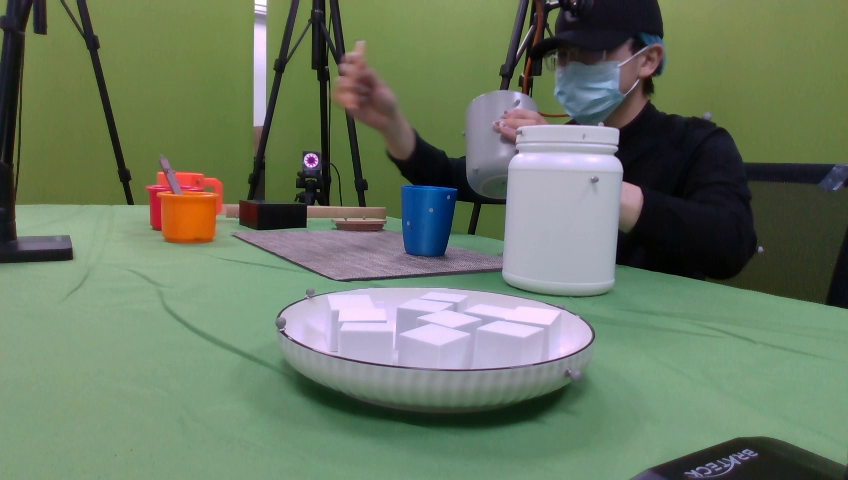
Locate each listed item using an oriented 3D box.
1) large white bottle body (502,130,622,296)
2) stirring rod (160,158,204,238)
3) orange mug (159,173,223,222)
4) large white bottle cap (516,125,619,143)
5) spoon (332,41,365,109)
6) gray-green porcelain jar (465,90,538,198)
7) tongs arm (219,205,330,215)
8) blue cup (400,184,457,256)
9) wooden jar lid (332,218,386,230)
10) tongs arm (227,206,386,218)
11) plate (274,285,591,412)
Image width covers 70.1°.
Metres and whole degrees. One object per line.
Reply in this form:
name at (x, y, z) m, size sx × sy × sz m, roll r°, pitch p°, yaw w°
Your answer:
large white bottle body at (0.160, -0.037, 0.706) m, size 0.131 × 0.184 × 0.130 m, roll 2°, pitch 7°, yaw 0°
stirring rod at (-0.391, -0.070, 0.972) m, size 0.014 × 0.006 × 0.175 m, roll -2°, pitch 50°, yaw -48°
orange mug at (-0.477, -0.089, 1.241) m, size 0.127 × 0.101 × 0.083 m, roll -7°, pitch 11°, yaw -33°
large white bottle cap at (0.164, -0.120, 0.695) m, size 0.115 × 0.018 × 0.115 m, roll 2°, pitch 7°, yaw 0°
spoon at (-0.115, -0.274, 0.988) m, size 0.042 × 0.193 × 0.021 m, roll 33°, pitch -45°, yaw -24°
gray-green porcelain jar at (0.111, -0.131, 0.860) m, size 0.106 × 0.126 × 0.106 m, roll 0°, pitch -22°, yaw 0°
tongs arm at (-0.288, -0.068, 1.435) m, size 0.389 × 0.027 × 0.028 m, roll 0°, pitch -1°, yaw -18°
blue cup at (0.004, -0.030, 0.901) m, size 0.093 × 0.100 × 0.092 m, roll 4°, pitch 9°, yaw 0°
wooden jar lid at (-0.129, -0.032, 1.204) m, size 0.108 × 0.020 × 0.108 m, roll 0°, pitch 5°, yaw 0°
tongs arm at (-0.251, -0.063, 1.360) m, size 0.387 × 0.026 × 0.050 m, roll -1°, pitch 3°, yaw -31°
plate at (0.005, 0.069, 0.408) m, size 0.208 × 0.039 × 0.207 m, roll 2°, pitch 7°, yaw 0°
